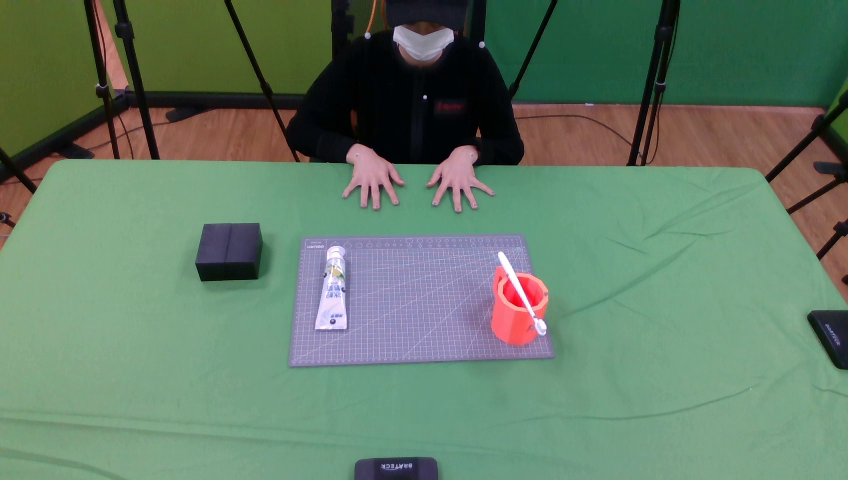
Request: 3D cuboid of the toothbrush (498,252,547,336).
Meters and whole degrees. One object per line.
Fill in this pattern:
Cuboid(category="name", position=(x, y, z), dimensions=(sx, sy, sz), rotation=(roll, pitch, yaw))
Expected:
Cuboid(category="toothbrush", position=(0.160, 0.083, 1.001), dimensions=(0.014, 0.017, 0.180), rotation=(-14, 48, -12))

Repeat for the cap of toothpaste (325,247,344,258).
Cuboid(category="cap of toothpaste", position=(-0.169, 0.028, 1.143), dimensions=(0.037, 0.037, 0.011), rotation=(-6, 46, -10))

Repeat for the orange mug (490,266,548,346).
Cuboid(category="orange mug", position=(0.155, 0.107, 1.051), dimensions=(0.083, 0.101, 0.125), rotation=(-15, 53, -18))

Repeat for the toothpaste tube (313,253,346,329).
Cuboid(category="toothpaste tube", position=(-0.167, 0.089, 1.092), dimensions=(0.055, 0.035, 0.164), rotation=(-4, 50, -1))
